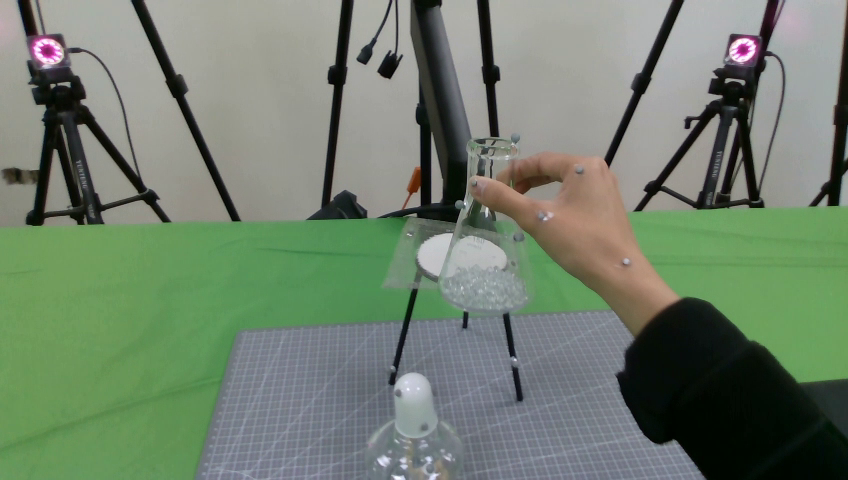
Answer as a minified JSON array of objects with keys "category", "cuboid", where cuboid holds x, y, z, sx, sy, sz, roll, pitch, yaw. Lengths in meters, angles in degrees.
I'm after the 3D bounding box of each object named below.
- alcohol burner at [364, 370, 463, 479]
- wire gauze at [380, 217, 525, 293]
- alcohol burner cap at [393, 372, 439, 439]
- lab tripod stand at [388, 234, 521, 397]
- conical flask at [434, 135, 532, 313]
[{"category":"alcohol burner","cuboid":[-0.008,0.150,0.464,0.078,0.120,0.077,0,27,0]},{"category":"wire gauze","cuboid":[0.032,0.013,0.555,0.121,0.011,0.124,6,29,7]},{"category":"alcohol burner cap","cuboid":[-0.007,0.119,0.446,0.034,0.048,0.033,-4,32,3]},{"category":"lab tripod stand","cuboid":[0.037,0.072,0.588,0.148,0.132,0.147,3,28,-1]},{"category":"conical flask","cuboid":[0.046,-0.014,0.448,0.075,0.122,0.075,1,21,0]}]
